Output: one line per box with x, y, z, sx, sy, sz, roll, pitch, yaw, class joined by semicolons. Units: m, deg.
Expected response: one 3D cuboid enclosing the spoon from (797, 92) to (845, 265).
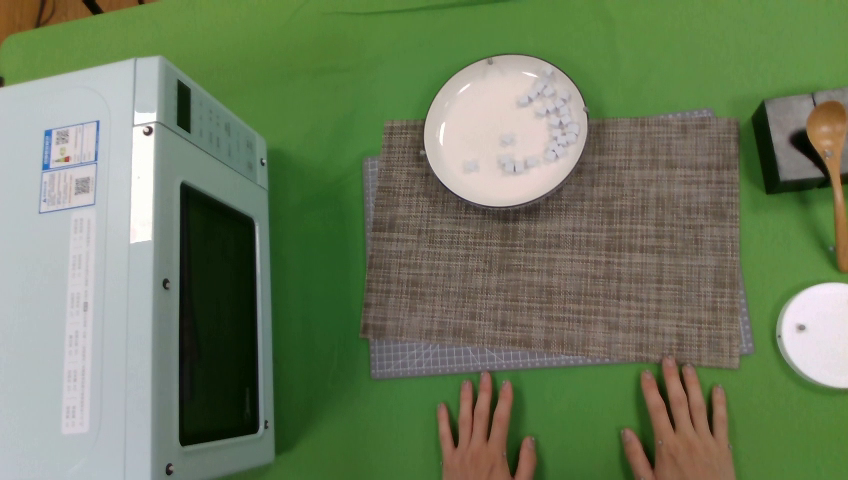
0.439;-0.063;0.658;0.041;0.021;0.194;-13;98;8;spoon

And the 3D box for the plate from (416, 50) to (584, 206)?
0.095;-0.140;0.772;0.209;0.038;0.208;-3;77;12;plate

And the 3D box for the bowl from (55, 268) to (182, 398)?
-0.352;0.114;0.735;0.151;0.077;0.150;-2;77;11;bowl

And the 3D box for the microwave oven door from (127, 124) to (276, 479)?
-0.243;0.079;0.681;0.039;0.245;0.354;-9;77;11;microwave oven door

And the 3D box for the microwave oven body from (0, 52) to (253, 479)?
-0.388;0.060;0.721;0.325;0.262;0.439;-8;78;10;microwave oven body

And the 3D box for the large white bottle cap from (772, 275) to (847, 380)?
0.446;0.095;0.662;0.114;0.018;0.114;-2;79;11;large white bottle cap

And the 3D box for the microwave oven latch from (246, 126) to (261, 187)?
-0.240;-0.112;0.825;0.030;0.030;0.079;-8;78;10;microwave oven latch
